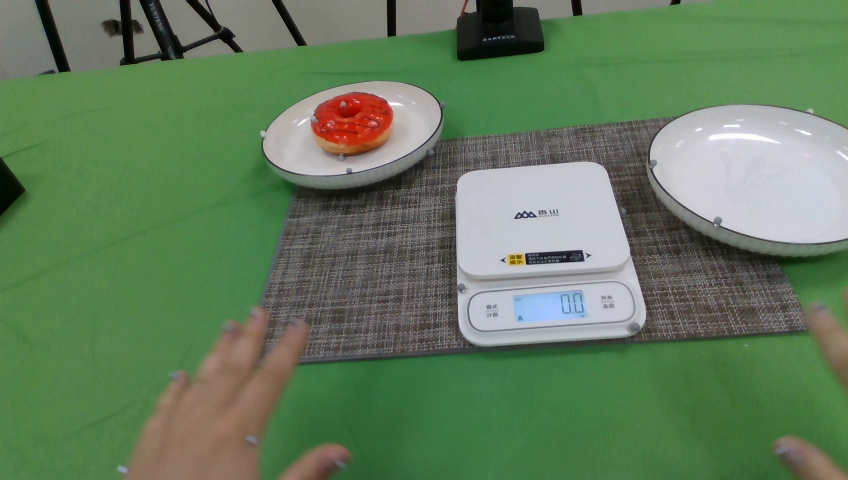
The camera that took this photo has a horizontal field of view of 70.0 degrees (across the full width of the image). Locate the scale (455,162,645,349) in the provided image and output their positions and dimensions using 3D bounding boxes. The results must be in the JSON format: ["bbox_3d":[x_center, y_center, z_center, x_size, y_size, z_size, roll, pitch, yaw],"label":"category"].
[{"bbox_3d":[0.102,0.005,0.538,0.148,0.032,0.199,-5,44,6],"label":"scale"}]

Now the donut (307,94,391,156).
[{"bbox_3d":[-0.086,-0.133,0.700,0.099,0.049,0.098,-5,41,4],"label":"donut"}]

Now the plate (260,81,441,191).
[{"bbox_3d":[-0.082,-0.118,0.699,0.209,0.038,0.207,-6,41,6],"label":"plate"}]

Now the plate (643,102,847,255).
[{"bbox_3d":[0.309,-0.057,0.560,0.207,0.039,0.205,-4,44,4],"label":"plate"}]
